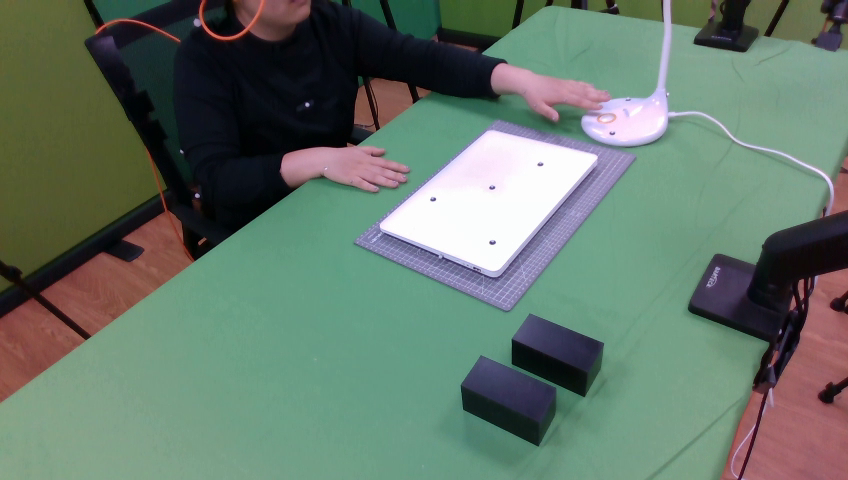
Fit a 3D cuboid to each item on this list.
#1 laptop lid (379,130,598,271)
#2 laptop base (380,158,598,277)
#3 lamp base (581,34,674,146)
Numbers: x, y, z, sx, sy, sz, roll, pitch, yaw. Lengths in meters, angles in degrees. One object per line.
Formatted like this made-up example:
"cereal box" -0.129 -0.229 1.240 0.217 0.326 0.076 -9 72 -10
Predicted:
"laptop lid" 0.117 -0.087 1.037 0.240 0.013 0.358 22 48 33
"laptop base" 0.120 -0.077 1.043 0.233 0.023 0.355 20 47 32
"lamp base" 0.392 -0.291 1.129 0.180 0.181 0.159 -11 41 -8
